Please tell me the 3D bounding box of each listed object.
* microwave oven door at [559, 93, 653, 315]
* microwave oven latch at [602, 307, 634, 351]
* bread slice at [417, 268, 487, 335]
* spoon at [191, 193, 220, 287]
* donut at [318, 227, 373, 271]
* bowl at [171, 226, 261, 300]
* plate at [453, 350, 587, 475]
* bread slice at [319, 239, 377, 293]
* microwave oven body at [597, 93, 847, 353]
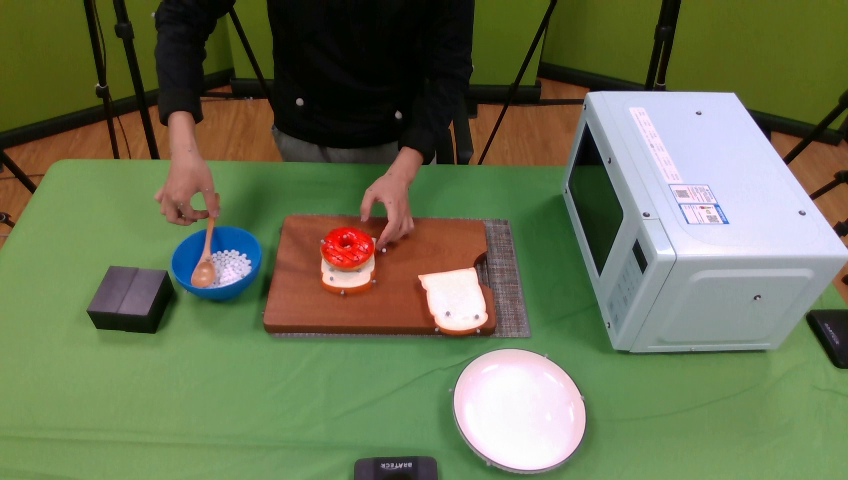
[{"bbox_3d":[0.327,-0.074,1.123,0.039,0.245,0.353,-1,46,-5],"label":"microwave oven door"},{"bbox_3d":[0.332,0.153,1.044,0.030,0.029,0.078,-1,45,-4],"label":"microwave oven latch"},{"bbox_3d":[0.055,0.107,1.063,0.107,0.018,0.133,-9,48,-12],"label":"bread slice"},{"bbox_3d":[-0.385,-0.002,1.089,0.041,0.022,0.193,-2,67,5],"label":"spoon"},{"bbox_3d":[-0.142,0.017,1.096,0.099,0.048,0.098,3,45,-2],"label":"donut"},{"bbox_3d":[-0.364,0.055,1.081,0.151,0.077,0.150,3,45,-2],"label":"bowl"},{"bbox_3d":[0.146,0.267,0.943,0.208,0.039,0.206,2,46,-2],"label":"plate"},{"bbox_3d":[-0.140,0.044,1.111,0.105,0.019,0.130,0,44,-3],"label":"bread slice"},{"bbox_3d":[0.475,-0.041,1.109,0.326,0.261,0.438,-1,45,-4],"label":"microwave oven body"}]
